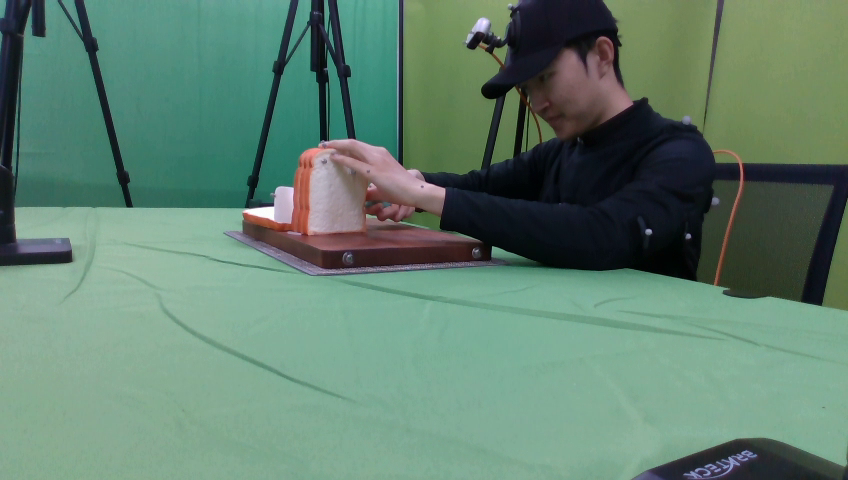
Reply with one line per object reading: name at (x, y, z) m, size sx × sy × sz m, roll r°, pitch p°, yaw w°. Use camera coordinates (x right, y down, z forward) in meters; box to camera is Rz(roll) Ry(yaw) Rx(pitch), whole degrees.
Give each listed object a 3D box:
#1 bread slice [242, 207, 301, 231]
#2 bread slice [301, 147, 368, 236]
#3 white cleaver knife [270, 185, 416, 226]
bread slice at (-0.233, -0.036, 1.001) m, size 0.131 × 0.019 × 0.105 m, roll 13°, pitch 16°, yaw 40°
bread slice at (-0.135, -0.073, 0.911) m, size 0.107 × 0.134 × 0.018 m, roll -8°, pitch 15°, yaw -35°
white cleaver knife at (-0.125, -0.052, 0.995) m, size 0.288 × 0.066 × 0.021 m, roll -1°, pitch -1°, yaw -42°
